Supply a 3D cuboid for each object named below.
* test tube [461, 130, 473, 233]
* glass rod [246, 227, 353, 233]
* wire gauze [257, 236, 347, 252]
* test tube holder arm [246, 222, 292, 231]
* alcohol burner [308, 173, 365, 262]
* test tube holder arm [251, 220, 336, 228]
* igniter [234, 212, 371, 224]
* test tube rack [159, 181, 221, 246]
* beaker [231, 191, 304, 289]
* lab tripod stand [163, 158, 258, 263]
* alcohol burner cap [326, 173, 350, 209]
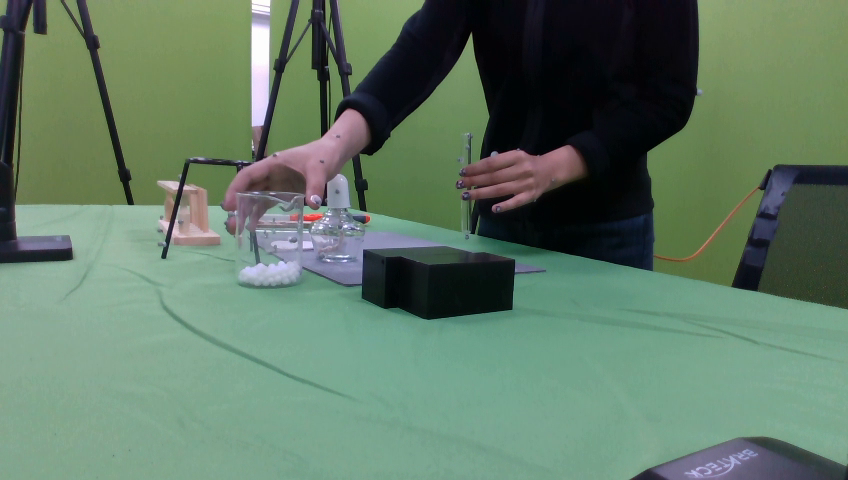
[{"bbox_3d":[0.062,-0.083,0.878,0.017,0.150,0.017,-1,11,1],"label":"test tube"},{"bbox_3d":[-0.224,-0.017,1.109,0.201,0.008,0.008,1,7,-27],"label":"glass rod"},{"bbox_3d":[-0.189,0.005,0.931,0.122,0.011,0.124,0,7,-21],"label":"wire gauze"},{"bbox_3d":[-0.291,-0.026,1.130,0.088,0.015,0.010,-1,43,-30],"label":"test tube holder arm"},{"bbox_3d":[-0.117,-0.030,0.813,0.078,0.119,0.078,4,9,0],"label":"alcohol burner"},{"bbox_3d":[-0.254,-0.030,1.156,0.179,0.015,0.013,-1,43,-30],"label":"test tube holder arm"},{"bbox_3d":[-0.245,-0.045,1.247,0.278,0.025,0.057,-1,-2,-26],"label":"igniter"},{"bbox_3d":[-0.395,-0.050,1.010,0.067,0.085,0.241,-2,8,-28],"label":"test tube rack"},{"bbox_3d":[-0.167,-0.001,0.653,0.074,0.100,0.083,-4,10,-40],"label":"beaker"},{"bbox_3d":[-0.265,-0.041,0.802,0.148,0.131,0.148,4,7,0],"label":"lab tripod stand"},{"bbox_3d":[-0.116,-0.065,0.808,0.034,0.048,0.034,-3,10,1],"label":"alcohol burner cap"}]
